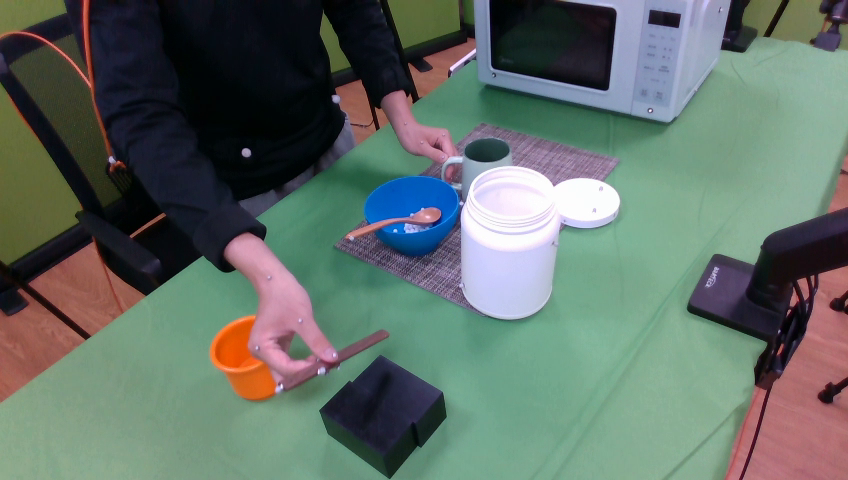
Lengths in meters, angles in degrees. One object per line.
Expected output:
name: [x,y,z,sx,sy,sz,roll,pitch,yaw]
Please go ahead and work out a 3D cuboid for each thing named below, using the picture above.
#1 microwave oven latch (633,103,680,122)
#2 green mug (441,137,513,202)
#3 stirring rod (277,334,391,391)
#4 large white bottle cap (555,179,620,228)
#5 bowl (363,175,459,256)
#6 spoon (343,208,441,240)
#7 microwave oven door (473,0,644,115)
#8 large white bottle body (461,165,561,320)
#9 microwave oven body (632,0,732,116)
microwave oven latch: [0.444,-0.249,1.157,0.078,0.029,0.030,21,49,30]
green mug: [0.091,-0.108,1.012,0.125,0.105,0.092,2,42,12]
stirring rod: [-0.092,0.130,0.658,0.014,0.006,0.177,21,19,29]
large white bottle cap: [0.265,-0.062,1.001,0.115,0.018,0.114,-3,41,3]
bowl: [-0.016,-0.029,0.955,0.151,0.077,0.150,-4,40,4]
spoon: [-0.046,-0.025,0.912,0.041,0.021,0.195,27,27,37]
microwave oven door: [0.257,-0.396,1.199,0.353,0.245,0.039,21,48,29]
large white bottle body: [0.115,0.004,0.816,0.130,0.185,0.130,-2,43,2]
microwave oven body: [0.377,-0.463,1.267,0.438,0.261,0.327,21,48,30]
